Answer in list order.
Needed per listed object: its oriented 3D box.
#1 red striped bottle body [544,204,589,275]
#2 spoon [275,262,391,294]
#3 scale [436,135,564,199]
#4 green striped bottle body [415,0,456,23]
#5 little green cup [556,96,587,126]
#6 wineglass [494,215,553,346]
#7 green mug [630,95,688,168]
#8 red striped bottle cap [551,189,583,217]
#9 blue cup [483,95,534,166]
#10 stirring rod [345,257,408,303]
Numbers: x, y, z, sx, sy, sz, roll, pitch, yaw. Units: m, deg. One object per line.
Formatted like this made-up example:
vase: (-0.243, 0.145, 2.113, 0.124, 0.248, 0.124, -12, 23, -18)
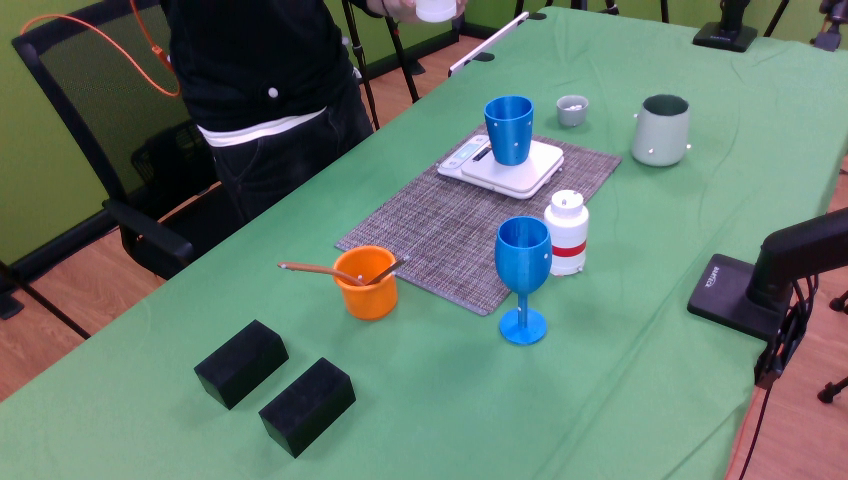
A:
red striped bottle body: (0.206, -0.011, 0.877, 0.063, 0.120, 0.062, -5, 41, 5)
spoon: (-0.120, 0.050, 0.830, 0.041, 0.195, 0.021, 31, 97, 45)
scale: (0.137, -0.142, 1.101, 0.199, 0.032, 0.149, 22, 48, 30)
green striped bottle body: (0.013, -0.385, 0.880, 0.063, 0.120, 0.063, -3, 49, 4)
little green cup: (0.295, -0.258, 1.214, 0.061, 0.039, 0.061, -4, 42, 4)
wineglass: (0.126, 0.055, 0.770, 0.074, 0.173, 0.073, -4, 40, 4)
green mug: (0.421, -0.201, 1.081, 0.092, 0.105, 0.125, 6, 42, 15)
red striped bottle cap: (0.200, -0.052, 0.843, 0.044, 0.018, 0.044, -2, 42, 2)
blue cup: (0.150, -0.187, 1.051, 0.092, 0.101, 0.092, -6, 41, 6)
stirring rod: (-0.067, 0.057, 0.815, 0.014, 0.175, 0.006, -24, 82, -38)
